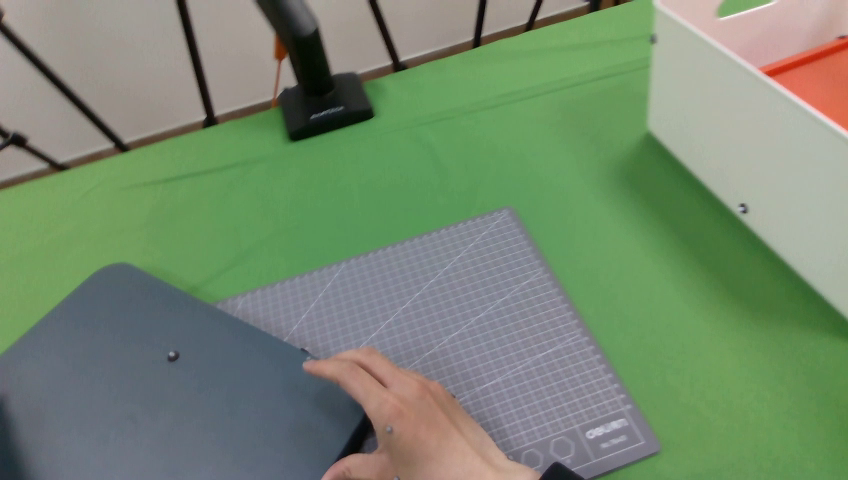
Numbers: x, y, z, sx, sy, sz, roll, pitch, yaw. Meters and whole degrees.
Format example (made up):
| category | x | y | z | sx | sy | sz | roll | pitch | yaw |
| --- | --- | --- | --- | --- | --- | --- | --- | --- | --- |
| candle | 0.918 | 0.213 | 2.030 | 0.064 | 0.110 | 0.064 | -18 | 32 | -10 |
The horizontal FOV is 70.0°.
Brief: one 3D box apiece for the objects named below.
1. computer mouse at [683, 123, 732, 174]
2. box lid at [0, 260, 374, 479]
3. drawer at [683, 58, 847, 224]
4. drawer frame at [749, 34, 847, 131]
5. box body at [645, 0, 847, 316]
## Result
| category | x | y | z | sx | sy | sz | roll | pitch | yaw |
| --- | --- | --- | --- | --- | --- | --- | --- | --- | --- |
| computer mouse | 0.308 | -0.087 | 0.569 | 0.116 | 0.041 | 0.062 | 24 | 51 | 23 |
| box lid | -0.249 | 0.162 | 0.512 | 0.369 | 0.015 | 0.262 | 20 | 56 | 27 |
| drawer | 0.401 | -0.108 | 0.582 | 0.212 | 0.074 | 0.192 | -11 | 37 | -21 |
| drawer frame | 0.393 | -0.099 | 0.586 | 0.214 | 0.083 | 0.199 | -21 | 45 | -10 |
| box body | 0.400 | -0.113 | 0.550 | 0.254 | 0.162 | 0.359 | -19 | 45 | -7 |
